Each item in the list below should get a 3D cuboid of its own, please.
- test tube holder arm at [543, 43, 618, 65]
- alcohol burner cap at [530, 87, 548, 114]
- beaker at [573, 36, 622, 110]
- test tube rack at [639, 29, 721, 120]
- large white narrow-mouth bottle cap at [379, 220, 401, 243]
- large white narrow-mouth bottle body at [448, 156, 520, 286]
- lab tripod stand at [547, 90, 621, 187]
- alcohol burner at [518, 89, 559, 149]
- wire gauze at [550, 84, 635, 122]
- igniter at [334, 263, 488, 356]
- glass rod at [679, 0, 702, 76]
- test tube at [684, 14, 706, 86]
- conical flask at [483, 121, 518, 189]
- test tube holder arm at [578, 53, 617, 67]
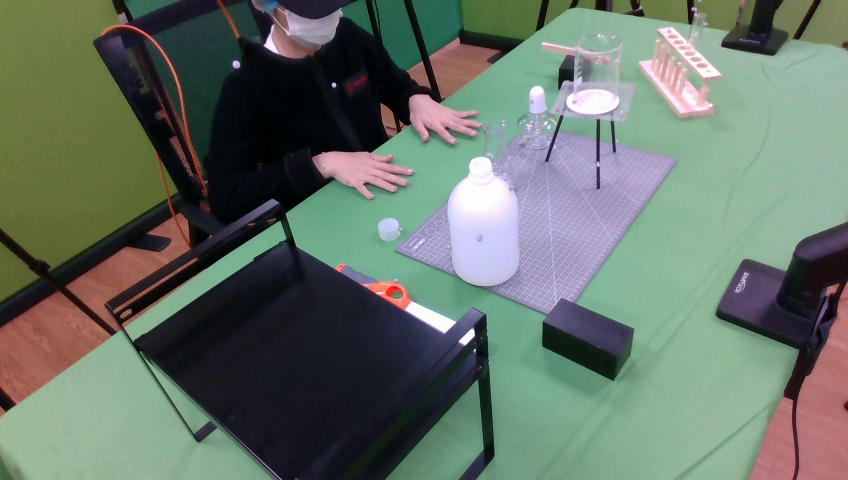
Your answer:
[{"bbox_3d":[0.345,-0.413,1.341,0.177,0.015,0.013,25,50,32],"label":"test tube holder arm"},{"bbox_3d":[0.212,-0.262,1.126,0.034,0.048,0.033,-8,37,7],"label":"alcohol burner cap"},{"bbox_3d":[0.283,-0.273,0.990,0.073,0.101,0.084,16,46,28],"label":"beaker"},{"bbox_3d":[0.527,-0.351,1.262,0.067,0.085,0.241,-8,40,1],"label":"test tube rack"},{"bbox_3d":[-0.057,-0.015,1.011,0.038,0.024,0.037,-4,40,4],"label":"large white narrow-mouth bottle cap"},{"bbox_3d":[0.086,-0.032,0.869,0.102,0.195,0.101,-4,40,4],"label":"large white narrow-mouth bottle body"},{"bbox_3d":[0.289,-0.184,1.062,0.148,0.132,0.147,-6,41,6],"label":"lab tripod stand"},{"bbox_3d":[0.218,-0.235,1.149,0.078,0.119,0.077,-5,43,5],"label":"alcohol burner"},{"bbox_3d":[0.285,-0.234,1.021,0.124,0.011,0.121,8,41,23],"label":"wire gauze"},{"bbox_3d":[-0.030,0.095,0.872,0.274,0.025,0.057,23,60,31],"label":"igniter"},{"bbox_3d":[0.543,-0.417,1.233,0.008,0.200,0.008,1,39,0],"label":"glass rod"},{"bbox_3d":[0.540,-0.378,1.215,0.017,0.151,0.017,-2,44,3],"label":"test tube"},{"bbox_3d":[0.126,-0.145,1.051,0.075,0.122,0.075,-5,41,4],"label":"conical flask"},{"bbox_3d":[0.376,-0.393,1.314,0.087,0.015,0.010,26,51,32],"label":"test tube holder arm"}]
